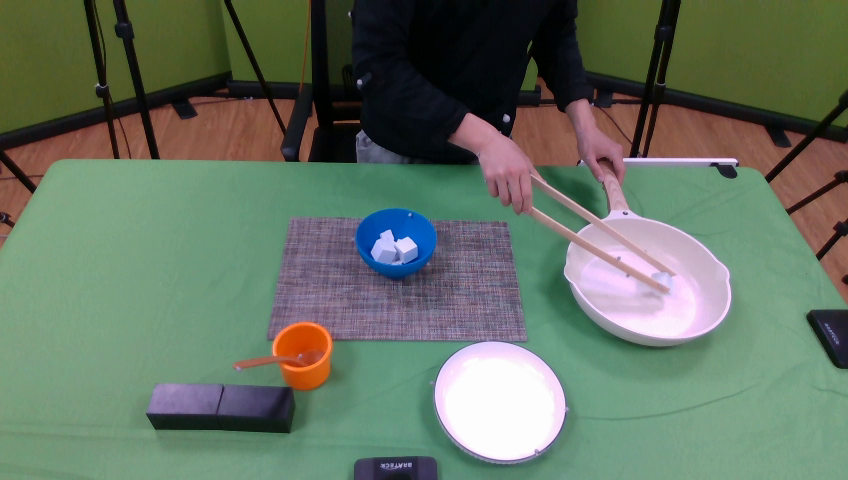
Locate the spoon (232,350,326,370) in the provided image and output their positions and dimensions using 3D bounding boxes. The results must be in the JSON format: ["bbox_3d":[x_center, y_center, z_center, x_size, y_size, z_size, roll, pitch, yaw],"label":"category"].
[{"bbox_3d":[-0.216,0.182,0.919,0.041,0.194,0.021,44,102,27],"label":"spoon"}]

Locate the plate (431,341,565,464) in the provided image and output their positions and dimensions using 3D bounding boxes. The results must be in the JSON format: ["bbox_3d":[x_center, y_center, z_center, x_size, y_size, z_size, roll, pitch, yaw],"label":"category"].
[{"bbox_3d":[0.114,0.255,0.951,0.208,0.039,0.206,3,46,-2],"label":"plate"}]

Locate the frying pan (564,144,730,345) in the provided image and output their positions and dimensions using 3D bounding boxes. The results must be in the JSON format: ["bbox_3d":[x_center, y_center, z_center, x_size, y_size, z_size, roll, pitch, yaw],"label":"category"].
[{"bbox_3d":[0.396,-0.008,1.179,0.307,0.103,0.484,0,55,-5],"label":"frying pan"}]

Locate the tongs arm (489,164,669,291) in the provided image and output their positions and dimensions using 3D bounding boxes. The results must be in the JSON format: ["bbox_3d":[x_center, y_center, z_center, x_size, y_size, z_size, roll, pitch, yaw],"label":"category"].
[{"bbox_3d":[0.280,-0.019,1.083,0.385,0.026,0.050,28,71,-8],"label":"tongs arm"}]

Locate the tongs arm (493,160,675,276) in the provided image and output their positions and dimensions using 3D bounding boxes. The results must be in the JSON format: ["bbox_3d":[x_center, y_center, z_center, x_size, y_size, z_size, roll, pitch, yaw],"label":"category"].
[{"bbox_3d":[0.291,-0.038,1.091,0.388,0.028,0.028,32,74,-7],"label":"tongs arm"}]

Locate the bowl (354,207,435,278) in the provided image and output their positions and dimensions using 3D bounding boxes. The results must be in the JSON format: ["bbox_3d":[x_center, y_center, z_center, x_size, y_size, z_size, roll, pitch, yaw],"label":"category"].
[{"bbox_3d":[-0.055,0.018,1.131,0.151,0.077,0.150,2,46,-2],"label":"bowl"}]
